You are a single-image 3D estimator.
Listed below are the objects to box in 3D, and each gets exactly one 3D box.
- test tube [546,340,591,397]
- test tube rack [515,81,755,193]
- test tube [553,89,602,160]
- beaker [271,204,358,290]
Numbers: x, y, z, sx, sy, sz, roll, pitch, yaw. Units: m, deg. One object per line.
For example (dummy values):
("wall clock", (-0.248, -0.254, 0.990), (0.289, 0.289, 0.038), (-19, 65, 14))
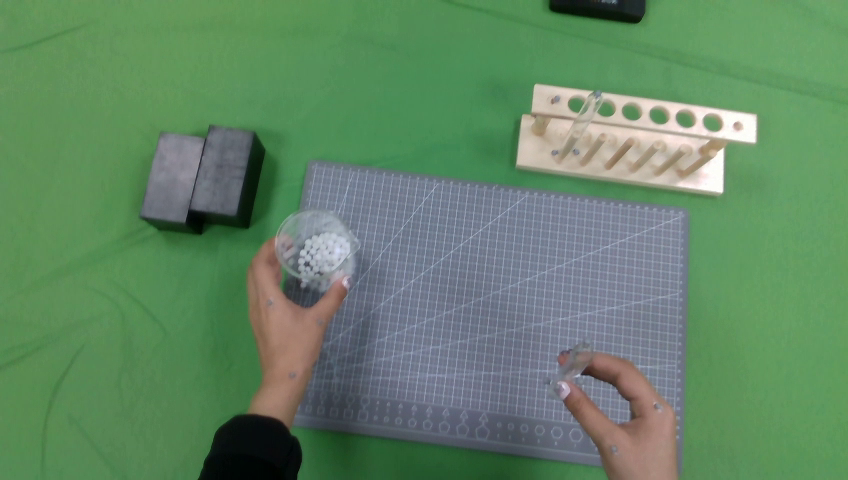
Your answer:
("test tube", (0.119, 0.111, 0.510), (0.017, 0.151, 0.017), (-1, 65, 3))
("test tube rack", (0.233, -0.114, 0.688), (0.242, 0.085, 0.066), (8, 76, 0))
("test tube", (0.160, -0.119, 0.640), (0.017, 0.151, 0.017), (0, 75, -1))
("beaker", (-0.108, 0.011, 0.636), (0.084, 0.100, 0.073), (0, 76, -2))
